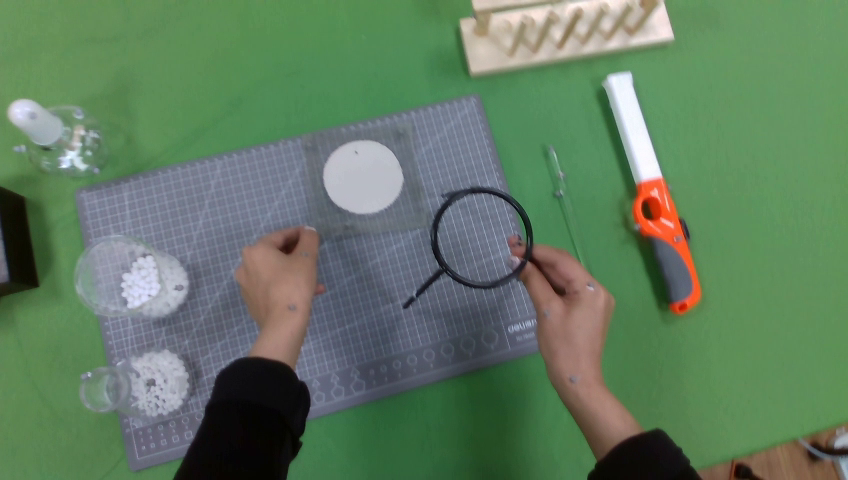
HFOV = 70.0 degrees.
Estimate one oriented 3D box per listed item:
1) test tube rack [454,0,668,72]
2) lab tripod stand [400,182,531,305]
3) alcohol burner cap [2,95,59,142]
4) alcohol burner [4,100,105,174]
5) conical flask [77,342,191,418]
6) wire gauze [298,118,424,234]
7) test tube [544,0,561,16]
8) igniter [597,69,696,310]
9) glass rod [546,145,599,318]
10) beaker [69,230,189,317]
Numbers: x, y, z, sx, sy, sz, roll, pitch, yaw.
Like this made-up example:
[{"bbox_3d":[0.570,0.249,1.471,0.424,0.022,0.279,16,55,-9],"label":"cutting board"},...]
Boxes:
[{"bbox_3d":[0.161,-0.255,0.670,0.242,0.085,0.066,-11,81,-5],"label":"test tube rack"},{"bbox_3d":[0.038,0.008,0.576,0.149,0.131,0.148,1,82,-8],"label":"lab tripod stand"},{"bbox_3d":[-0.368,-0.116,0.562,0.034,0.048,0.033,1,74,-2],"label":"alcohol burner cap"},{"bbox_3d":[-0.369,-0.107,0.597,0.078,0.119,0.077,0,81,-2],"label":"alcohol burner"},{"bbox_3d":[-0.269,0.131,0.556,0.075,0.122,0.075,1,80,-3],"label":"conical flask"},{"bbox_3d":[-0.069,-0.070,0.661,0.125,0.011,0.121,-7,81,-7],"label":"wire gauze"},{"bbox_3d":[0.144,-0.274,0.622,0.017,0.150,0.017,0,80,-1],"label":"test tube"},{"bbox_3d":[0.247,-0.059,0.673,0.057,0.025,0.275,-12,81,-15],"label":"igniter"},{"bbox_3d":[0.164,-0.010,0.669,0.008,0.008,0.199,-14,84,-6],"label":"glass rod"},{"bbox_3d":[-0.273,0.038,0.583,0.084,0.100,0.074,21,80,0],"label":"beaker"}]
